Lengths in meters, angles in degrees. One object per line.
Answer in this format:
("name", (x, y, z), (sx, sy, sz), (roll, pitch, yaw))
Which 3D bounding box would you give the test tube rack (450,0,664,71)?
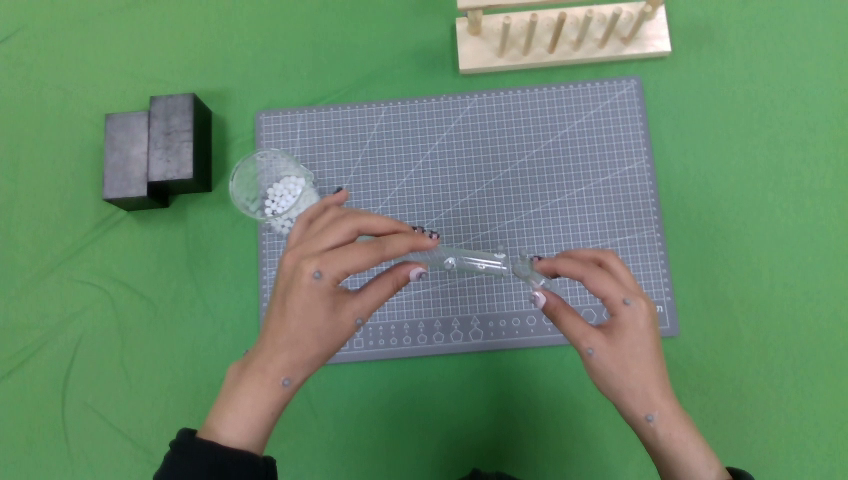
("test tube rack", (0.152, -0.249, 0.676), (0.242, 0.085, 0.066), (-5, 79, 2))

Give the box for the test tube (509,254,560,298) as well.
("test tube", (0.092, 0.032, 0.490), (0.017, 0.151, 0.017), (-4, 77, 20))

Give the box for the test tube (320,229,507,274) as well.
("test tube", (-0.012, 0.007, 0.437), (0.149, 0.017, 0.017), (8, 78, 26))

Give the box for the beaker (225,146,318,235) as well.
("beaker", (-0.153, -0.048, 0.643), (0.084, 0.100, 0.073), (-13, 79, 0))
